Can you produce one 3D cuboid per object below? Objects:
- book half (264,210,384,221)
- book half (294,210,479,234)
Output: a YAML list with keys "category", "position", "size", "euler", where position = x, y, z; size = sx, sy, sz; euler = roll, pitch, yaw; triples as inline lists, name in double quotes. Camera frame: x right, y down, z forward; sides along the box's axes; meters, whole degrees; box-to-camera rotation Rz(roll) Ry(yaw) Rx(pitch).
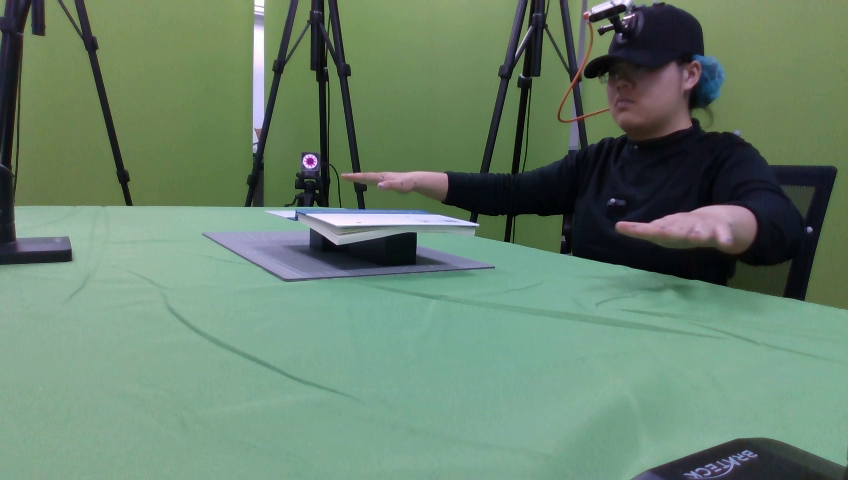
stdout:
- category: "book half"
  position: [-0.125, -0.038, 0.944]
  size: [0.211, 0.007, 0.142]
  euler: [-2, 9, -32]
- category: "book half"
  position: [-0.051, -0.025, 0.823]
  size: [0.211, 0.016, 0.148]
  euler: [-1, 9, -32]
